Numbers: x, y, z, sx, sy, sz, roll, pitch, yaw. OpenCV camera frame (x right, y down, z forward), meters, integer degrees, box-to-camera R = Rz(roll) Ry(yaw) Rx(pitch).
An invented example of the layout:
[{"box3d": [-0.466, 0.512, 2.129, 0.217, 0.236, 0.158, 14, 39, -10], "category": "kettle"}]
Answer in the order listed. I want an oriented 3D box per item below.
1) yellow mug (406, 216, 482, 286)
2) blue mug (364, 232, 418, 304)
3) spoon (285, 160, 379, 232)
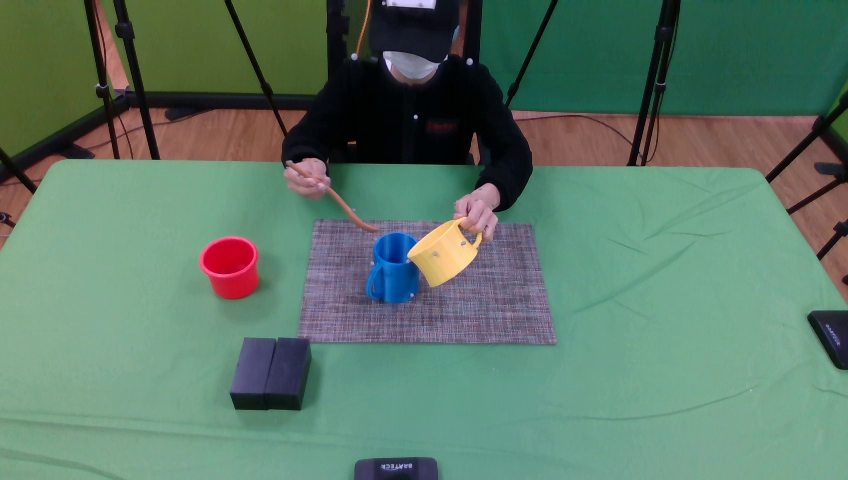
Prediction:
[{"box3d": [0.040, 0.011, 1.000, 0.131, 0.100, 0.064, -38, 99, -11], "category": "yellow mug"}, {"box3d": [-0.062, 0.059, 1.073, 0.082, 0.106, 0.116, 35, 53, 27], "category": "blue mug"}, {"box3d": [-0.148, -0.069, 0.986, 0.021, 0.195, 0.041, -50, 26, -6], "category": "spoon"}]
